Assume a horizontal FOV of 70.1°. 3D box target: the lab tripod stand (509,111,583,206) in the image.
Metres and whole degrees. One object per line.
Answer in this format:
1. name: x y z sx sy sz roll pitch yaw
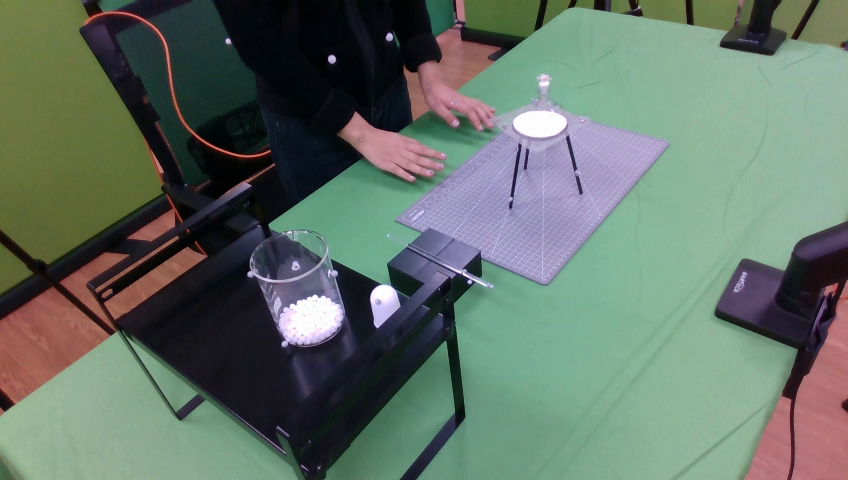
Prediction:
1. lab tripod stand: 0.197 -0.139 1.020 0.148 0.132 0.147 -3 39 3

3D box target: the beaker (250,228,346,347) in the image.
1. beaker: -0.120 0.048 0.598 0.074 0.101 0.083 -9 40 -1

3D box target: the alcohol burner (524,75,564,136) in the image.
1. alcohol burner: 0.232 -0.263 1.174 0.078 0.119 0.077 -6 39 5

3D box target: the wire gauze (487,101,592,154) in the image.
1. wire gauze: 0.185 -0.188 0.974 0.122 0.011 0.124 -27 44 -23

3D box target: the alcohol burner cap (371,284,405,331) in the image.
1. alcohol burner cap: -0.037 0.065 0.608 0.034 0.048 0.033 -4 42 4

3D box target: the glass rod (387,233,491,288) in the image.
1. glass rod: 0.017 0.027 0.877 0.198 0.008 0.008 26 51 34
